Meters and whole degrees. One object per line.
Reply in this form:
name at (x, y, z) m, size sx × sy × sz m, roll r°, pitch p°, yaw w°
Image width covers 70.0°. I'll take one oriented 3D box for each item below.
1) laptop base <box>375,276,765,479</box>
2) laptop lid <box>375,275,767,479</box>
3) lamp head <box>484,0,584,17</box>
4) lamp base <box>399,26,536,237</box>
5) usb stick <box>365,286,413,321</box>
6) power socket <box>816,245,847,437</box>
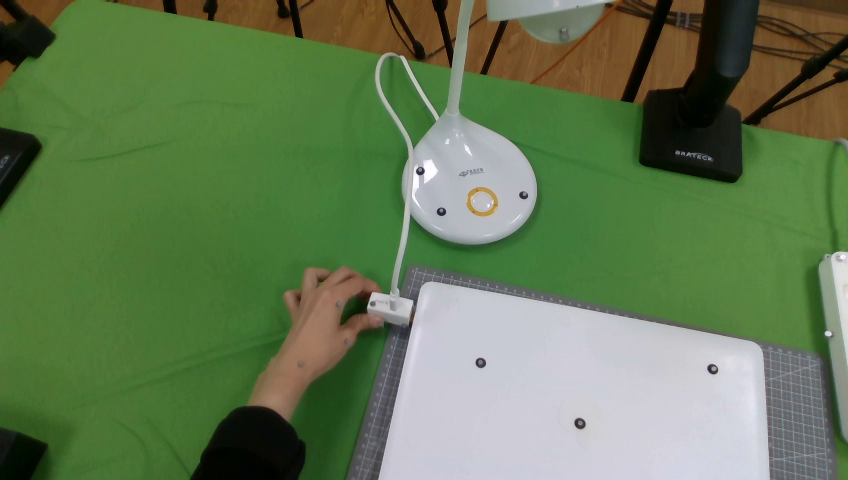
laptop base at (0.146, 0.172, 0.586) m, size 0.354 × 0.023 × 0.234 m, roll 10°, pitch 65°, yaw 4°
laptop lid at (0.145, 0.168, 0.574) m, size 0.356 × 0.013 × 0.240 m, roll 12°, pitch 65°, yaw 5°
lamp head at (0.084, -0.210, 0.380) m, size 0.112 × 0.111 × 0.123 m, roll -16°, pitch 107°, yaw -10°
lamp base at (0.046, -0.120, 0.648) m, size 0.161 × 0.182 × 0.177 m, roll -23°, pitch 62°, yaw -14°
usb stick at (-0.030, 0.067, 0.622) m, size 0.059 × 0.027 × 0.021 m, roll 14°, pitch 57°, yaw 2°
power socket at (0.457, 0.104, 0.624) m, size 0.072 × 0.033 × 0.225 m, roll 11°, pitch 62°, yaw 2°
